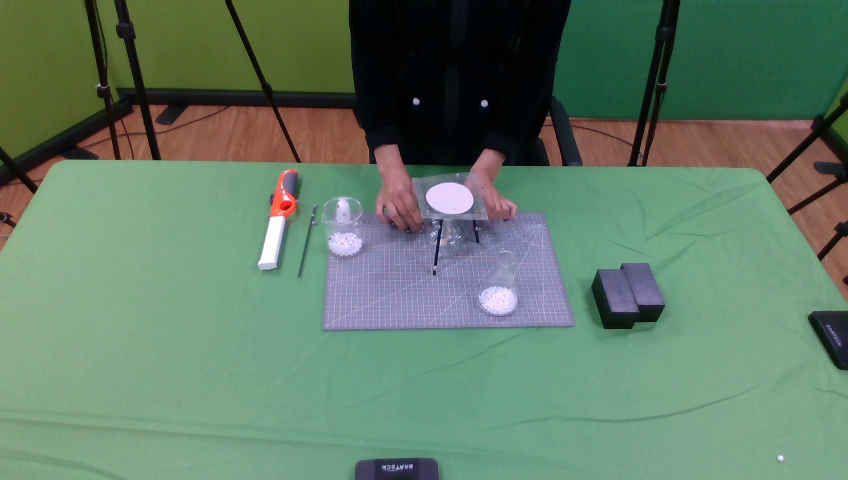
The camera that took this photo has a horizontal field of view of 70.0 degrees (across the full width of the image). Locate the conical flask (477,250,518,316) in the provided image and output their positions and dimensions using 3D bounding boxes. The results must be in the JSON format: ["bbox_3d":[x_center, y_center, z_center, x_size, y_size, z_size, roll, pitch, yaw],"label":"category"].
[{"bbox_3d":[0.137,0.072,1.067,0.075,0.122,0.075,2,46,-2],"label":"conical flask"}]

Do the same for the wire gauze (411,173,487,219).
[{"bbox_3d":[0.044,-0.080,1.105,0.125,0.011,0.120,-3,46,-8],"label":"wire gauze"}]

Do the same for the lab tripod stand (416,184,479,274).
[{"bbox_3d":[0.042,-0.030,1.151,0.148,0.132,0.147,3,44,-2],"label":"lab tripod stand"}]

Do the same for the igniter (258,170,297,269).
[{"bbox_3d":[-0.294,-0.050,1.221,0.057,0.025,0.274,-5,45,4],"label":"igniter"}]

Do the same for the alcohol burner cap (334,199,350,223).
[{"bbox_3d":[-0.167,-0.061,1.227,0.034,0.048,0.033,2,46,-1],"label":"alcohol burner cap"}]

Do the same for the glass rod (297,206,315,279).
[{"bbox_3d":[-0.232,0.000,1.191,0.008,0.008,0.198,3,46,-1],"label":"glass rod"}]

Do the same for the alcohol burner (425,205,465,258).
[{"bbox_3d":[0.041,-0.023,1.158,0.078,0.119,0.077,3,47,-3],"label":"alcohol burner"}]

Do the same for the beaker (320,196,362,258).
[{"bbox_3d":[-0.156,-0.021,1.150,0.084,0.101,0.073,-30,55,-28],"label":"beaker"}]
